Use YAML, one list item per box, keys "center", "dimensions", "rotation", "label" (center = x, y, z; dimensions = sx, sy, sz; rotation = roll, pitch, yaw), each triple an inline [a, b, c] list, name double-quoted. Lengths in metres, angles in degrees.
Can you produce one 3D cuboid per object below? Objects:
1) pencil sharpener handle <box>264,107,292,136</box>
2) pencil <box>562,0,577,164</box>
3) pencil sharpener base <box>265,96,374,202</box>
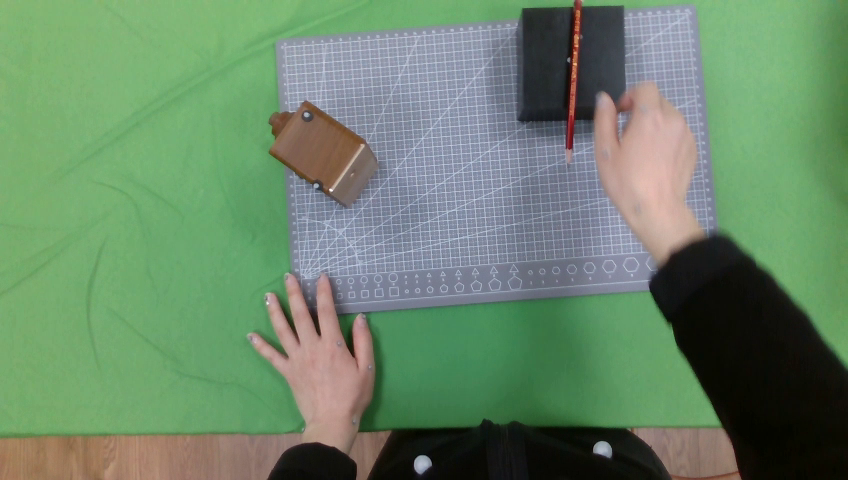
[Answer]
- center: [-0.141, -0.118, 0.584]
  dimensions: [0.030, 0.068, 0.036]
  rotation: [35, 97, 4]
  label: "pencil sharpener handle"
- center: [0.142, -0.170, 0.590]
  dimensions: [0.012, 0.012, 0.193]
  rotation: [3, 87, 2]
  label: "pencil"
- center: [-0.100, -0.086, 0.594]
  dimensions: [0.076, 0.107, 0.061]
  rotation: [35, 89, 3]
  label: "pencil sharpener base"
